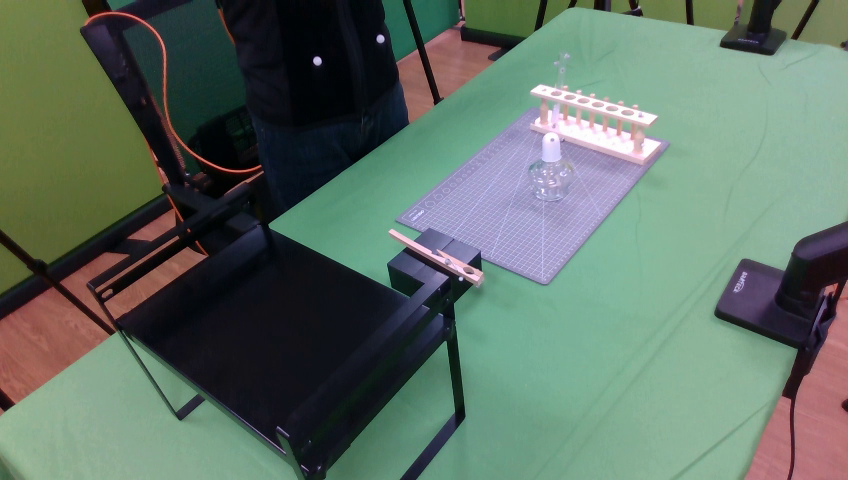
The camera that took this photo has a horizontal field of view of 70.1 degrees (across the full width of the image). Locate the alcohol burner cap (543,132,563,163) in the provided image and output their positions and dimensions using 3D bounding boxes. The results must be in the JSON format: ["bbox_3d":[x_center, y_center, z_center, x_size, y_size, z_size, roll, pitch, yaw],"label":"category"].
[{"bbox_3d":[0.211,-0.154,0.994,0.034,0.048,0.033,-7,35,6],"label":"alcohol burner cap"}]

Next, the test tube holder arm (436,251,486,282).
[{"bbox_3d":[0.049,0.037,0.852,0.087,0.015,0.010,25,56,33],"label":"test tube holder arm"}]

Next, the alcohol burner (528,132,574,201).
[{"bbox_3d":[0.214,-0.126,1.016,0.078,0.119,0.077,-5,38,5],"label":"alcohol burner"}]

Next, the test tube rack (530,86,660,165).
[{"bbox_3d":[0.320,-0.226,1.140,0.240,0.085,0.067,27,51,34],"label":"test tube rack"}]

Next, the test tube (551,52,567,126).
[{"bbox_3d":[0.253,-0.281,1.138,0.017,0.151,0.017,-2,43,2],"label":"test tube"}]

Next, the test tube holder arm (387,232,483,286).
[{"bbox_3d":[0.012,0.025,0.874,0.177,0.015,0.013,24,56,33],"label":"test tube holder arm"}]
